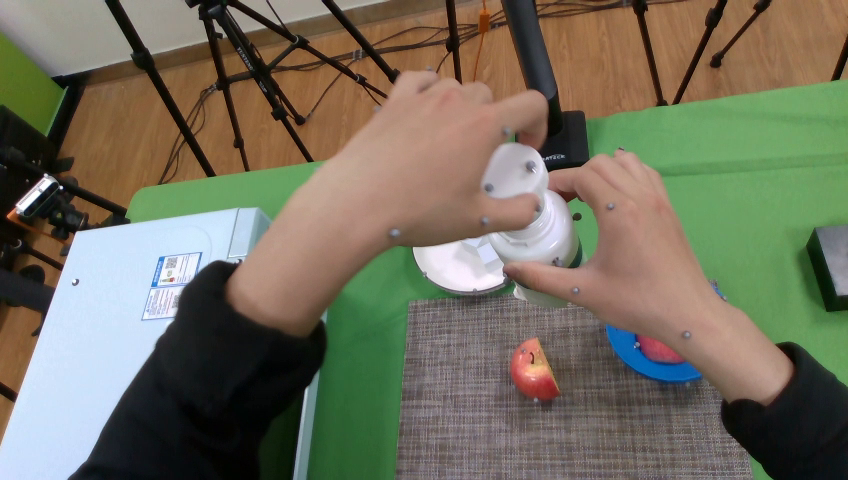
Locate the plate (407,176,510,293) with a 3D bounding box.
[{"bbox_3d":[0.076,-0.006,0.967,0.207,0.039,0.206,-8,60,14],"label":"plate"}]

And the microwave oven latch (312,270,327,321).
[{"bbox_3d":[-0.174,0.090,0.975,0.030,0.030,0.078,-8,60,14],"label":"microwave oven latch"}]

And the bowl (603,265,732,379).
[{"bbox_3d":[0.312,0.116,0.787,0.151,0.077,0.150,-9,59,15],"label":"bowl"}]

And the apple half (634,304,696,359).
[{"bbox_3d":[0.312,0.114,0.783,0.081,0.033,0.080,-9,58,14],"label":"apple half"}]

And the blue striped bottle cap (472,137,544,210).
[{"bbox_3d":[0.054,-0.043,0.388,0.044,0.021,0.044,-8,65,18],"label":"blue striped bottle cap"}]

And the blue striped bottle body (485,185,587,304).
[{"bbox_3d":[0.086,0.001,0.465,0.063,0.122,0.062,-10,61,19],"label":"blue striped bottle body"}]

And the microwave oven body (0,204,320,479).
[{"bbox_3d":[-0.350,0.214,0.846,0.325,0.263,0.438,-7,60,14],"label":"microwave oven body"}]

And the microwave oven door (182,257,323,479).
[{"bbox_3d":[-0.213,0.231,0.784,0.039,0.246,0.352,-7,59,15],"label":"microwave oven door"}]

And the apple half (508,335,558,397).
[{"bbox_3d":[0.142,0.175,0.815,0.053,0.075,0.080,-24,60,9],"label":"apple half"}]
